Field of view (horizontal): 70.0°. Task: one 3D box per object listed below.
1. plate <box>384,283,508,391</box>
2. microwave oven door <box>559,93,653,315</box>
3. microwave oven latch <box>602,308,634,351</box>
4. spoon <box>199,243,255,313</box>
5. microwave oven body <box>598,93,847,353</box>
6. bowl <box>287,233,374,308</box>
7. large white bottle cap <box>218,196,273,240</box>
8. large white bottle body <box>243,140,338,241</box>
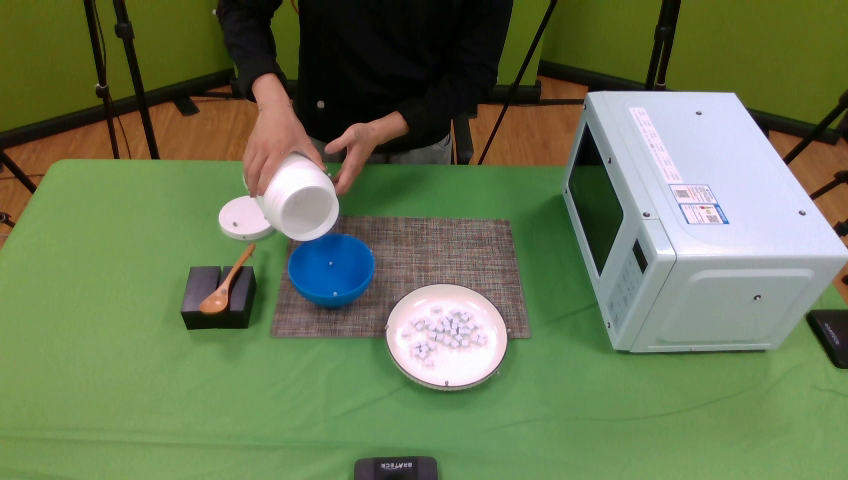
[{"bbox_3d":[0.036,0.166,1.029,0.209,0.038,0.208,2,49,-2],"label":"plate"},{"bbox_3d":[0.327,-0.074,1.123,0.039,0.245,0.353,-1,46,-5],"label":"microwave oven door"},{"bbox_3d":[0.332,0.153,1.044,0.030,0.029,0.078,-1,45,-4],"label":"microwave oven latch"},{"bbox_3d":[-0.333,0.062,1.052,0.041,0.022,0.193,8,40,7],"label":"spoon"},{"bbox_3d":[0.475,-0.041,1.109,0.326,0.261,0.438,-1,45,-4],"label":"microwave oven body"},{"bbox_3d":[-0.165,0.068,1.078,0.151,0.077,0.150,3,46,-2],"label":"bowl"},{"bbox_3d":[-0.355,-0.045,1.220,0.115,0.018,0.114,2,45,-2],"label":"large white bottle cap"},{"bbox_3d":[-0.240,-0.089,1.093,0.131,0.131,0.183,-20,40,-22],"label":"large white bottle body"}]
